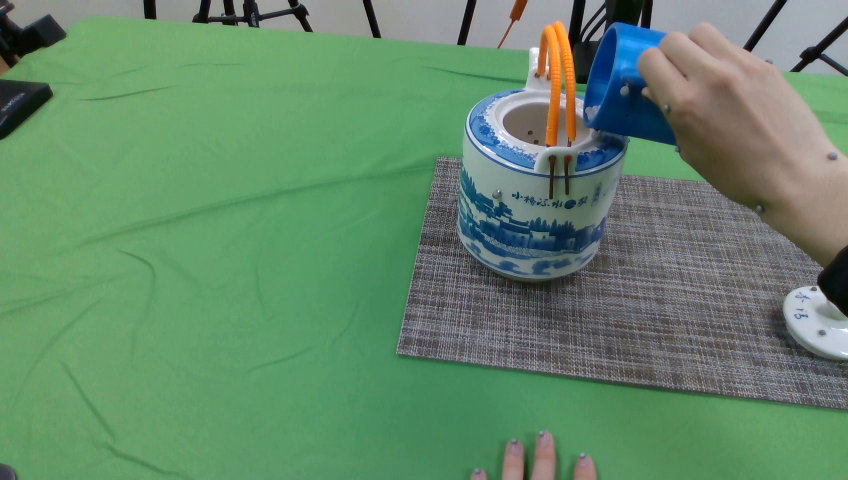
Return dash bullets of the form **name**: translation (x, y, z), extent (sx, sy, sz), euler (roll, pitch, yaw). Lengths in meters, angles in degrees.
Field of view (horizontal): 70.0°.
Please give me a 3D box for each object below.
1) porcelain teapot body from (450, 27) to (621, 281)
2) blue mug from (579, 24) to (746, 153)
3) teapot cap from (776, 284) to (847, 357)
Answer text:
- **porcelain teapot body**: translation (0.102, -0.099, 0.574), extent (0.145, 0.227, 0.203), euler (1, 43, -1)
- **blue mug**: translation (0.184, -0.117, 0.469), extent (0.106, 0.082, 0.116), euler (12, 13, -1)
- **teapot cap**: translation (0.362, 0.067, 0.542), extent (0.085, 0.044, 0.084), euler (3, 42, -2)
